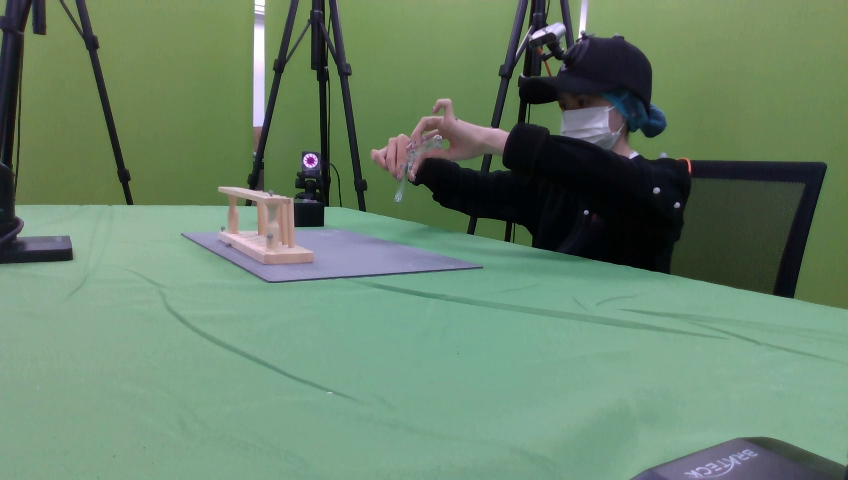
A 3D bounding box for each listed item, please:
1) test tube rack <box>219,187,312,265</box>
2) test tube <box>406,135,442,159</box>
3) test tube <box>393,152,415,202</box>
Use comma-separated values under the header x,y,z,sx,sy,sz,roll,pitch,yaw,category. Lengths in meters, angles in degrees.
x,y,z,sx,sy,sz,roll,pitch,yaw,category
-0.235,-0.027,0.872,0.067,0.085,0.241,-2,8,-31,test tube rack
-0.001,-0.147,0.961,0.017,0.017,0.150,0,-1,-18,test tube
-0.038,-0.110,1.094,0.017,0.017,0.150,1,-27,-13,test tube
